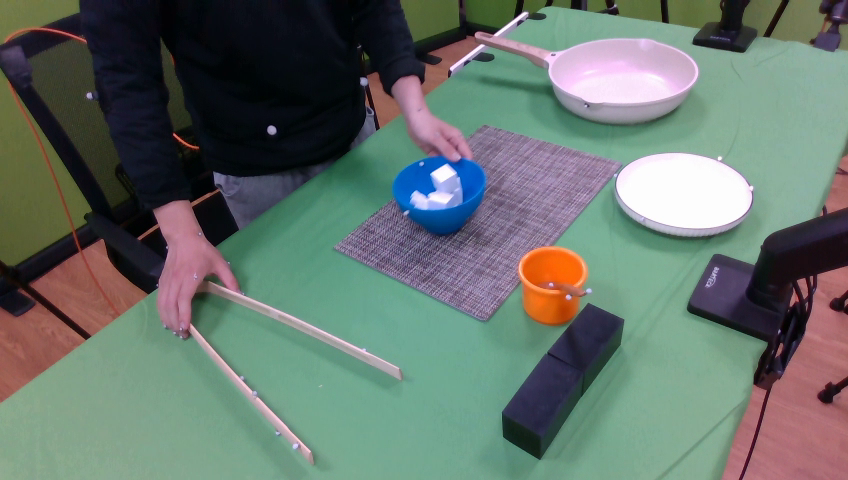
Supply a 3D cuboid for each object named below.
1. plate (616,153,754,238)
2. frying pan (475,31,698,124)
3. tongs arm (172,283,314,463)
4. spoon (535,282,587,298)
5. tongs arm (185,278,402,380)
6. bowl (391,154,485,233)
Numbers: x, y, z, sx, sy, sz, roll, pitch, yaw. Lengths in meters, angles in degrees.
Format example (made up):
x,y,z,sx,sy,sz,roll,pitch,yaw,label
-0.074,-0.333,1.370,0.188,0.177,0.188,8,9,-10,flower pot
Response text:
x,y,z,sx,sy,sz,roll,pitch,yaw,label
0.416,-0.069,0.977,0.207,0.039,0.206,-4,40,4,plate
0.320,-0.371,1.290,0.485,0.103,0.307,28,50,23,frying pan
-0.246,0.161,0.806,0.381,0.026,0.051,29,51,36,tongs arm
0.176,0.063,0.774,0.041,0.194,0.021,-3,85,1,spoon
-0.194,0.119,0.852,0.385,0.028,0.028,18,49,27,tongs arm
0.026,-0.064,0.974,0.151,0.077,0.150,-5,41,5,bowl
